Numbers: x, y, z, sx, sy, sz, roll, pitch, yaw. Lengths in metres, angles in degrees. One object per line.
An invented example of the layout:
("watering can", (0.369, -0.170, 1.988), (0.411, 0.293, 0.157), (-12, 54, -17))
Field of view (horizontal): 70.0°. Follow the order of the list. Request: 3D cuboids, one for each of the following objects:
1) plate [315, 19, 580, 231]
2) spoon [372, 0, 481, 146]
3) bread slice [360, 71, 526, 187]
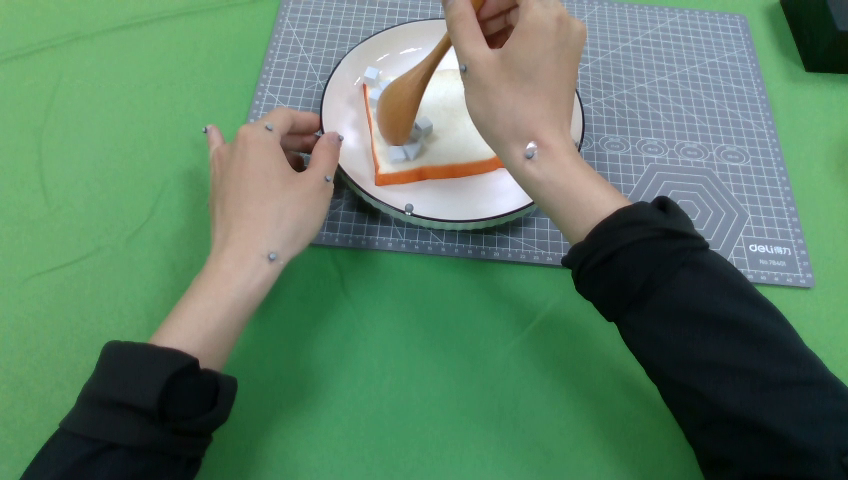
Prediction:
("plate", (0.018, -0.093, 0.487), (0.209, 0.038, 0.207), (2, 61, -3))
("spoon", (0.012, -0.136, 0.404), (0.022, 0.194, 0.041), (-9, 59, -46))
("bread slice", (0.016, -0.096, 0.492), (0.132, 0.019, 0.104), (-8, 62, -7))
